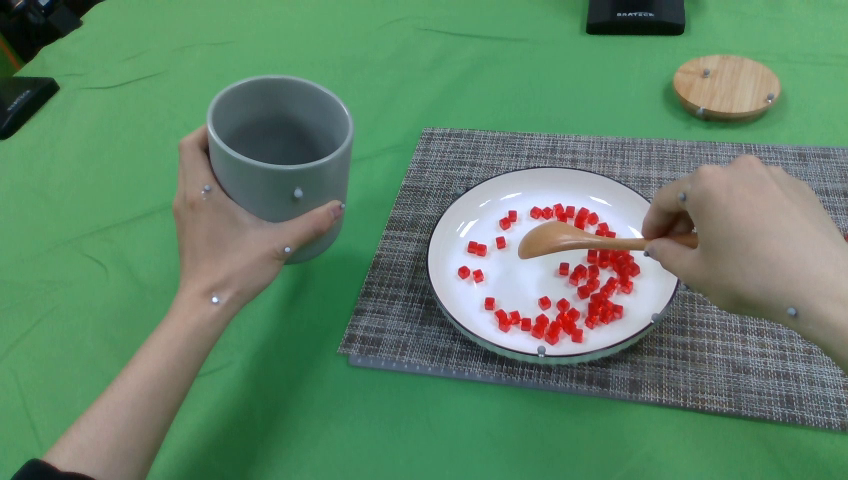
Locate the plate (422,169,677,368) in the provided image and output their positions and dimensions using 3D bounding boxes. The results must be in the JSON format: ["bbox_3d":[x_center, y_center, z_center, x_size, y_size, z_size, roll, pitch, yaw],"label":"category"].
[{"bbox_3d":[0.103,0.022,0.518,0.207,0.039,0.205,-4,48,5],"label":"plate"}]

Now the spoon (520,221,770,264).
[{"bbox_3d":[0.145,0.003,0.436,0.192,0.022,0.041,2,53,46],"label":"spoon"}]

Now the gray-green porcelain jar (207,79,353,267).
[{"bbox_3d":[-0.116,-0.048,0.495,0.106,0.127,0.105,7,50,-8],"label":"gray-green porcelain jar"}]

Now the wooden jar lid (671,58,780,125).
[{"bbox_3d":[0.327,-0.161,0.662,0.108,0.021,0.107,-4,49,5],"label":"wooden jar lid"}]
